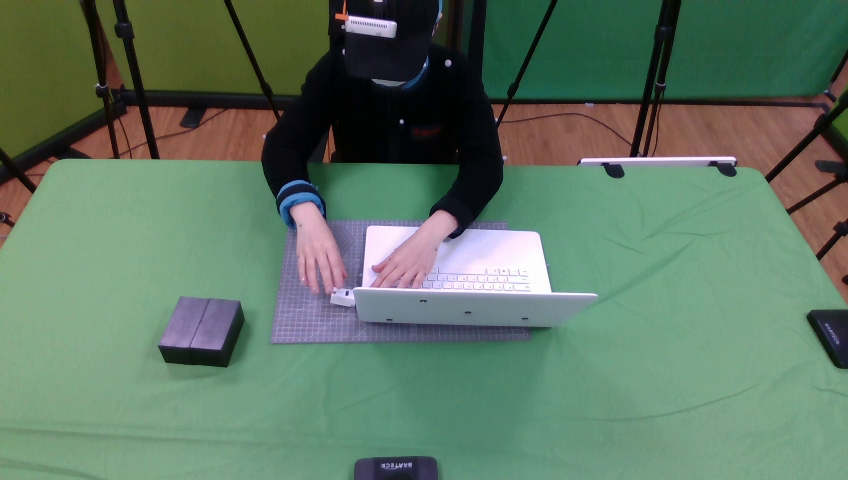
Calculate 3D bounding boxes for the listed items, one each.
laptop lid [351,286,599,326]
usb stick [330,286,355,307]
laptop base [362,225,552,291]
[{"bbox_3d":[0.068,0.109,0.952,0.357,0.242,0.013,2,71,-4],"label":"laptop lid"},{"bbox_3d":[-0.135,0.101,1.068,0.059,0.027,0.021,13,44,-8],"label":"usb stick"},{"bbox_3d":[0.061,0.063,1.144,0.354,0.023,0.234,2,43,-3],"label":"laptop base"}]
